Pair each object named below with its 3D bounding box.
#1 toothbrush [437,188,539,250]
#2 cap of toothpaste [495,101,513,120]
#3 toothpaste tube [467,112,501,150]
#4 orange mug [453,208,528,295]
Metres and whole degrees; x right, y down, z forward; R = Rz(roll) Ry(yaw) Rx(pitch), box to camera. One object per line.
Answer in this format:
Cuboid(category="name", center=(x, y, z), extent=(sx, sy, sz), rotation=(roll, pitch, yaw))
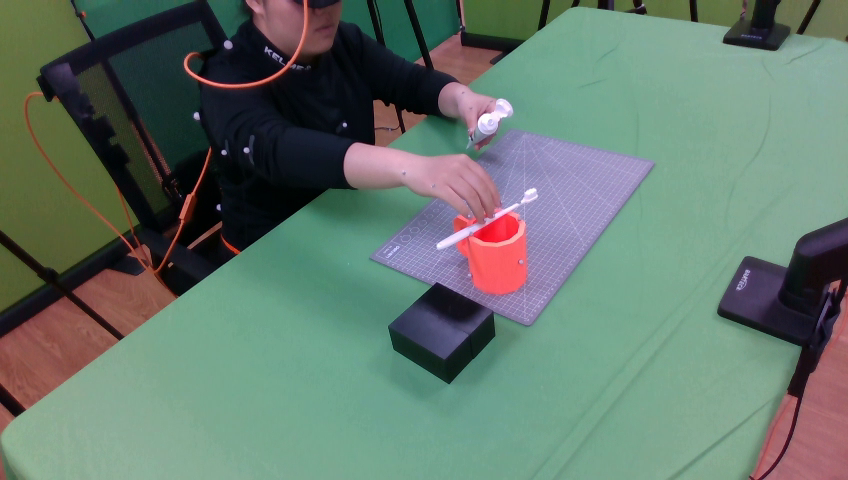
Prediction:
Cuboid(category="toothbrush", center=(0.093, -0.031, 0.859), extent=(0.182, 0.017, 0.014), rotation=(-28, 51, -21))
Cuboid(category="cap of toothpaste", center=(0.130, -0.211, 0.989), extent=(0.011, 0.037, 0.037), rotation=(-36, 46, -20))
Cuboid(category="toothpaste tube", center=(0.103, -0.198, 1.075), extent=(0.034, 0.165, 0.055), rotation=(33, 85, -5))
Cuboid(category="orange mug", center=(0.095, 0.009, 0.894), extent=(0.125, 0.101, 0.084), rotation=(32, 55, 33))
